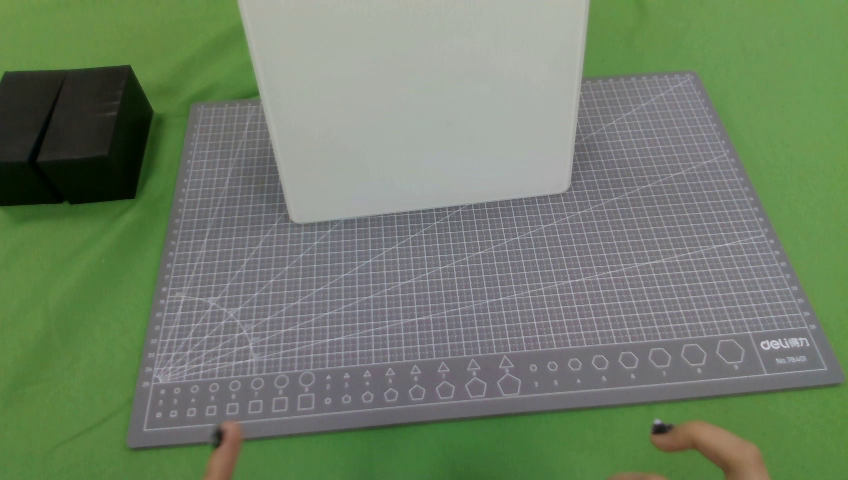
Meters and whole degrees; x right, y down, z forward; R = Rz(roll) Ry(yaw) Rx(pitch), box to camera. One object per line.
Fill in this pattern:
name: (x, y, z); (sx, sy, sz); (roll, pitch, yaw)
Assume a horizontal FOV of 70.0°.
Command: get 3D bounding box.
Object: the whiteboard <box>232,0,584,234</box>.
whiteboard: (-0.012, -0.180, 0.424); (0.217, 0.308, 0.142); (-6, 36, -3)
